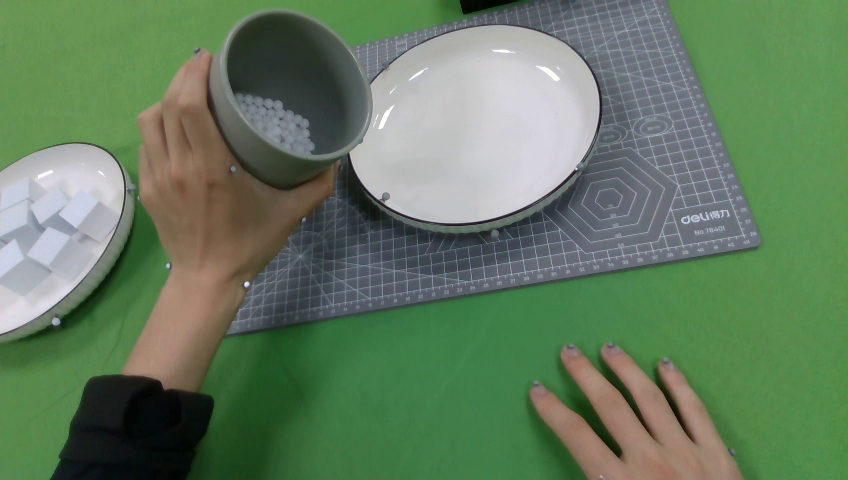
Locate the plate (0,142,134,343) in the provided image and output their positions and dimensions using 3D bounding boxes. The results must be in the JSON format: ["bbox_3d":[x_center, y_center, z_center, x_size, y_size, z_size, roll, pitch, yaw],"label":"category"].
[{"bbox_3d":[-0.360,0.002,0.563,0.207,0.039,0.206,-7,59,12],"label":"plate"}]

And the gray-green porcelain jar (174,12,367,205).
[{"bbox_3d":[-0.118,-0.087,0.444,0.126,0.107,0.105,-20,46,52],"label":"gray-green porcelain jar"}]

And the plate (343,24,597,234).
[{"bbox_3d":[0.036,-0.091,0.499,0.209,0.038,0.207,-7,59,12],"label":"plate"}]
